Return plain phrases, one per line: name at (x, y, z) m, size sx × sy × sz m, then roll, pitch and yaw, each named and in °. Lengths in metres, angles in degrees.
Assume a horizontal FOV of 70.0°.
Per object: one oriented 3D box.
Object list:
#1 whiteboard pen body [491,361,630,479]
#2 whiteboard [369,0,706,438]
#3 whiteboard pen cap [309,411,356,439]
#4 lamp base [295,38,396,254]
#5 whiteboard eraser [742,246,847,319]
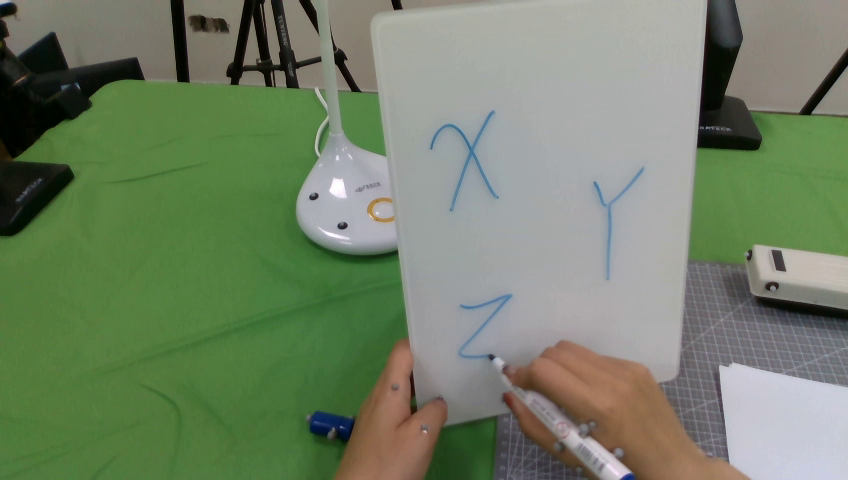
whiteboard pen body at (0.083, 0.117, 0.399) m, size 0.017 × 0.017 × 0.139 m, roll -21°, pitch 33°, yaw -21°
whiteboard at (0.077, -0.030, 0.484) m, size 0.217 × 0.307 × 0.142 m, roll -9°, pitch 22°, yaw -7°
whiteboard pen cap at (-0.070, 0.142, 0.465) m, size 0.033 × 0.018 × 0.018 m, roll 6°, pitch 41°, yaw 10°
lamp base at (-0.071, -0.104, 0.624) m, size 0.161 × 0.182 × 0.177 m, roll -29°, pitch 45°, yaw -28°
whiteboard eraser at (0.353, 0.040, 0.549) m, size 0.112 × 0.042 × 0.055 m, roll 9°, pitch 43°, yaw 12°
